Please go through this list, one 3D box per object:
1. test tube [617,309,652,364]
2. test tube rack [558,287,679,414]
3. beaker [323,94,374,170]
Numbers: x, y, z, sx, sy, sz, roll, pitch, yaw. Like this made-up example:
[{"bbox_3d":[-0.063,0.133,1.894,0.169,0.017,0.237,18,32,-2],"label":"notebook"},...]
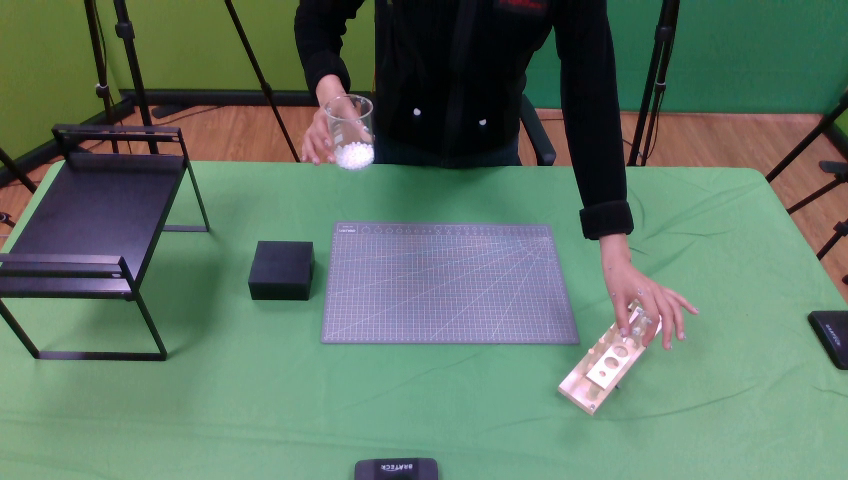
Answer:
[{"bbox_3d":[0.328,0.156,0.954,0.017,0.151,0.017,1,50,-1],"label":"test tube"},{"bbox_3d":[0.326,0.170,1.009,0.066,0.085,0.242,35,54,26],"label":"test tube rack"},{"bbox_3d":[-0.114,-0.169,0.953,0.074,0.101,0.084,20,46,19],"label":"beaker"}]
